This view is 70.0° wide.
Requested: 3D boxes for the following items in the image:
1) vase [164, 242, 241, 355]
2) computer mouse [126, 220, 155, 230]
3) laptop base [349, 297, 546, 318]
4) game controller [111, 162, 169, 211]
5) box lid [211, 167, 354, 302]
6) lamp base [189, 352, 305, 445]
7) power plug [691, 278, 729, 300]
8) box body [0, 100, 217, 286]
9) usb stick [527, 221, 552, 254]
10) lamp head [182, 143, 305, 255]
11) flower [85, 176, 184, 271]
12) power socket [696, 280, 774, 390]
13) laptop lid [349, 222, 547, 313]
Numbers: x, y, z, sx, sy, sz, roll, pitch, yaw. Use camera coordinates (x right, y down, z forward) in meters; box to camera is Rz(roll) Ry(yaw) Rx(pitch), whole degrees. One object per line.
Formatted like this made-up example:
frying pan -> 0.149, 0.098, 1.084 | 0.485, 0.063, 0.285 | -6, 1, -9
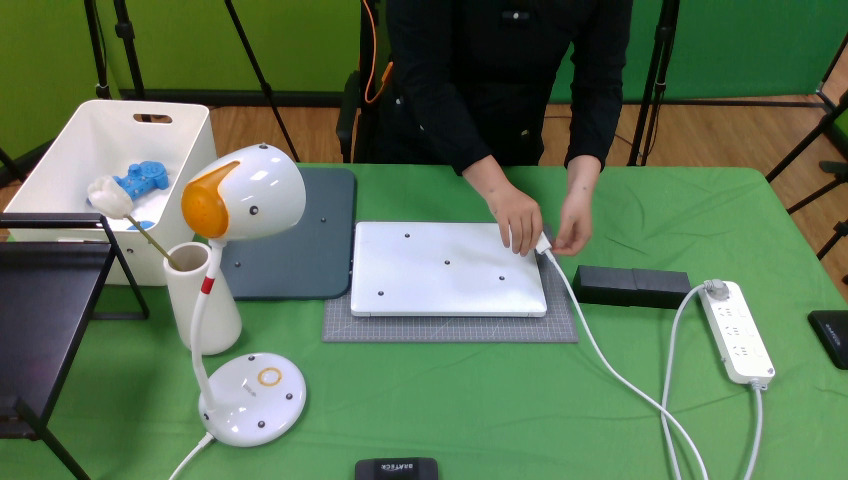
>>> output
vase -> -0.349, 0.096, 0.954 | 0.098, 0.201, 0.097 | 3, 47, -3
computer mouse -> -0.537, 0.008, 1.127 | 0.062, 0.041, 0.117 | 32, 56, 20
laptop base -> 0.040, 0.056, 1.150 | 0.355, 0.023, 0.234 | 1, 43, -4
game controller -> -0.597, -0.113, 1.234 | 0.097, 0.052, 0.155 | 29, 51, 20
box lid -> -0.276, -0.024, 1.205 | 0.263, 0.015, 0.369 | 0, 46, -4
lamp base -> -0.268, 0.196, 0.876 | 0.160, 0.181, 0.179 | 26, 52, 20
power plug -> 0.523, 0.090, 1.117 | 0.072, 0.053, 0.035 | 9, 47, 9
box body -> -0.560, -0.092, 1.145 | 0.254, 0.161, 0.361 | 3, 46, -2
usb stick -> 0.206, -0.005, 1.096 | 0.027, 0.021, 0.059 | -33, 70, 22
lamp head -> -0.216, -0.044, 0.697 | 0.112, 0.113, 0.123 | 23, 31, 17
flower -> -0.365, 0.038, 0.894 | 0.038, 0.364, 0.044 | -5, 53, 14
power socket -> 0.550, 0.159, 1.080 | 0.072, 0.033, 0.225 | 3, 46, -1
laptop lid -> 0.041, 0.046, 1.143 | 0.357, 0.013, 0.240 | 2, 43, -3
